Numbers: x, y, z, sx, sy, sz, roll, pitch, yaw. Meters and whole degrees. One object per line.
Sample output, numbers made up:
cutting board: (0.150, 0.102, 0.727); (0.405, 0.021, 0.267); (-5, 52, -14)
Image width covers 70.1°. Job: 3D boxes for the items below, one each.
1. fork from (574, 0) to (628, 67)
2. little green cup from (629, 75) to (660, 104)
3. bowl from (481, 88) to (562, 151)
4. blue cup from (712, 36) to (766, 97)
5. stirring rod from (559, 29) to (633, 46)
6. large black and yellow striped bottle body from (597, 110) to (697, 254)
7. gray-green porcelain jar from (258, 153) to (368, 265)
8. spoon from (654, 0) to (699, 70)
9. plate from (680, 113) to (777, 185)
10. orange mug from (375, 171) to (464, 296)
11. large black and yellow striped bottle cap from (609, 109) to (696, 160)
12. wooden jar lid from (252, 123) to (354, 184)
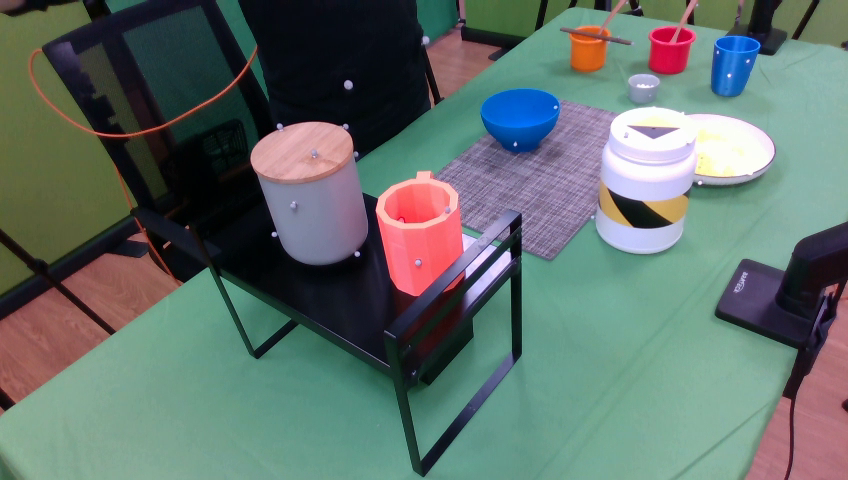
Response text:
fork: (0.413, -0.481, 1.377); (0.207, 0.019, 0.028); (-56, 43, 12)
little green cup: (0.457, -0.314, 1.260); (0.061, 0.039, 0.061); (-4, 40, 4)
bowl: (0.187, -0.223, 1.161); (0.151, 0.077, 0.150); (-4, 40, 4)
blue cup: (0.627, -0.350, 1.227); (0.092, 0.100, 0.092); (-4, 39, 4)
stirring rod: (0.380, -0.452, 1.344); (0.174, 0.006, 0.014); (25, 49, 33)
large black and yellow striped bottle body: (0.331, -0.086, 0.904); (0.131, 0.185, 0.130); (-5, 41, 4)
gray-green porcelain jar: (-0.122, -0.043, 0.691); (0.106, 0.127, 0.105); (-4, 40, 4)
spoon: (0.567, -0.463, 1.337); (0.041, 0.022, 0.193); (30, 97, 37)
plate: (0.506, -0.158, 1.073); (0.209, 0.038, 0.208); (-5, 40, 4)
orange mug: (-0.001, -0.016, 0.662); (0.083, 0.101, 0.125); (-2, 45, 8)
large black and yellow striped bottle cap: (0.320, -0.150, 0.849); (0.115, 0.019, 0.114); (-4, 40, 3)
wooden jar lid: (-0.129, -0.090, 0.652); (0.108, 0.021, 0.108); (-3, 41, 3)
